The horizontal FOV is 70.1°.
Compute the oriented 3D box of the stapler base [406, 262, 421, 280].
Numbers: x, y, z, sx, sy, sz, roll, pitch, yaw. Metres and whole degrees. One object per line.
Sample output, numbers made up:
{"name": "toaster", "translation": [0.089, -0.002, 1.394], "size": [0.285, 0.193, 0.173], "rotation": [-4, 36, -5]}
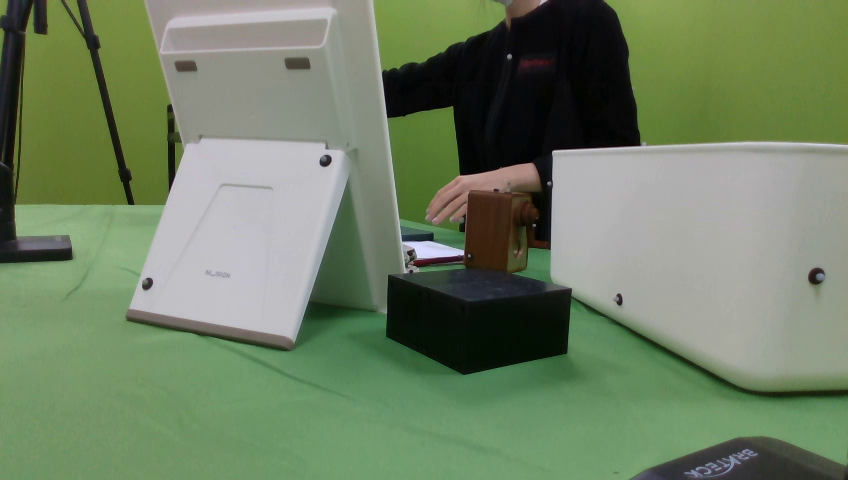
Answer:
{"name": "stapler base", "translation": [-0.069, 0.027, 0.759], "size": [0.130, 0.024, 0.041], "rotation": [9, 13, 23]}

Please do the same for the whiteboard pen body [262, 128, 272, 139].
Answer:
{"name": "whiteboard pen body", "translation": [-0.361, -0.245, 1.393], "size": [0.017, 0.017, 0.140], "rotation": [0, 4, -19]}

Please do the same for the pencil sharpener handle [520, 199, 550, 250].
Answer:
{"name": "pencil sharpener handle", "translation": [0.147, -0.019, 0.785], "size": [0.030, 0.068, 0.036], "rotation": [8, 25, 36]}

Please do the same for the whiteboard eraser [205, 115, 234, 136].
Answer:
{"name": "whiteboard eraser", "translation": [-0.446, -0.250, 1.321], "size": [0.056, 0.042, 0.112], "rotation": [-5, 9, -14]}

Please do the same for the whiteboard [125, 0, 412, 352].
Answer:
{"name": "whiteboard", "translation": [-0.151, -0.050, 0.471], "size": [0.216, 0.305, 0.144], "rotation": [6, 27, 24]}

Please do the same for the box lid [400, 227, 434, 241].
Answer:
{"name": "box lid", "translation": [-0.196, -0.015, 1.105], "size": [0.373, 0.015, 0.262], "rotation": [-1, 7, -32]}

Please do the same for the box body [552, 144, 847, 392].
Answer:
{"name": "box body", "translation": [0.290, 0.002, 0.549], "size": [0.255, 0.160, 0.363], "rotation": [2, 7, -10]}

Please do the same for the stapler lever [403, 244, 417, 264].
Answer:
{"name": "stapler lever", "translation": [-0.066, 0.002, 0.755], "size": [0.117, 0.040, 0.027], "rotation": [9, 13, 23]}

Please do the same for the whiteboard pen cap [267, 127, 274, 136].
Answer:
{"name": "whiteboard pen cap", "translation": [-0.340, -0.239, 1.337], "size": [0.018, 0.018, 0.033], "rotation": [0, -1, -16]}

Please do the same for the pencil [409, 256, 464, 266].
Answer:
{"name": "pencil", "translation": [0.041, 0.027, 0.850], "size": [0.195, 0.012, 0.012], "rotation": [-4, 10, -45]}

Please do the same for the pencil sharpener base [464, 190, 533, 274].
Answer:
{"name": "pencil sharpener base", "translation": [0.103, -0.012, 0.813], "size": [0.076, 0.107, 0.061], "rotation": [8, 9, 36]}
